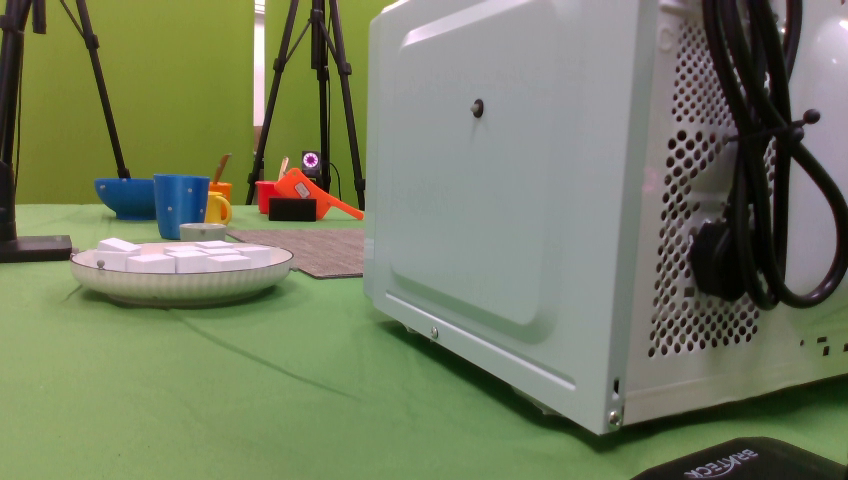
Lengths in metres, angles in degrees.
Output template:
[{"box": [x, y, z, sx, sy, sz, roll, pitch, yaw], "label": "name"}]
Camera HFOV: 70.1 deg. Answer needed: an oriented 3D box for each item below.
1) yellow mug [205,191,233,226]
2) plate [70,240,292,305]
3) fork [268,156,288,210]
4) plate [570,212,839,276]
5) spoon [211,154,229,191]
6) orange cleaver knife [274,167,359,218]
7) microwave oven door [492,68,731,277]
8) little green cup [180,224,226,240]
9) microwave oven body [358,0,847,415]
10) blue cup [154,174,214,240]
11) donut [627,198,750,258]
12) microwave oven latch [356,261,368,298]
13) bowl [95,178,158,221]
[{"box": [-0.415, -0.057, 1.132, 0.130, 0.064, 0.100, 6, 8, 16], "label": "yellow mug"}, {"box": [-0.242, 0.031, 0.618, 0.208, 0.039, 0.207, 2, 8, 0], "label": "plate"}, {"box": [-0.360, -0.144, 1.508, 0.028, 0.018, 0.207, 1, 49, 0], "label": "fork"}, {"box": [0.230, 0.000, 0.519, 0.209, 0.038, 0.209, 2, 6, 0], "label": "plate"}, {"box": [-0.431, -0.115, 1.253, 0.042, 0.193, 0.021, -3, 54, -33], "label": "spoon"}, {"box": [-0.238, -0.091, 1.381, 0.212, 0.077, 0.012, 31, 0, -19], "label": "orange cleaver knife"}, {"box": [0.232, -0.098, 0.836, 0.039, 0.243, 0.354, -3, 9, -36], "label": "microwave oven door"}, {"box": [-0.309, -0.001, 0.846, 0.061, 0.038, 0.061, 2, 8, 0], "label": "little green cup"}, {"box": [0.211, -0.047, 0.475, 0.444, 0.260, 0.324, -1, 7, -28], "label": "microwave oven body"}, {"box": [-0.391, -0.053, 0.978, 0.093, 0.100, 0.092, 3, 6, 0], "label": "blue cup"}, {"box": [0.225, -0.010, 0.518, 0.099, 0.048, 0.099, 4, 8, 0], "label": "donut"}, {"box": [-0.020, 0.033, 0.530, 0.079, 0.029, 0.030, 0, 7, -26], "label": "microwave oven latch"}, {"box": [-0.576, -0.081, 1.217, 0.151, 0.077, 0.151, 3, 8, 0], "label": "bowl"}]
